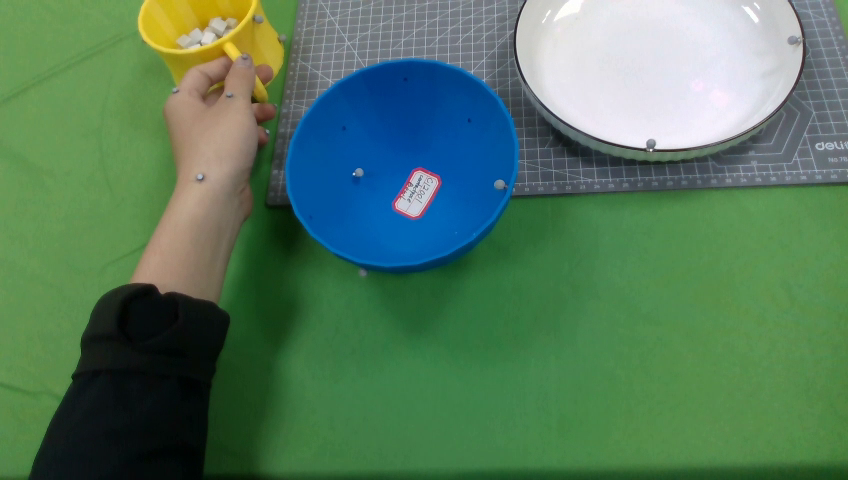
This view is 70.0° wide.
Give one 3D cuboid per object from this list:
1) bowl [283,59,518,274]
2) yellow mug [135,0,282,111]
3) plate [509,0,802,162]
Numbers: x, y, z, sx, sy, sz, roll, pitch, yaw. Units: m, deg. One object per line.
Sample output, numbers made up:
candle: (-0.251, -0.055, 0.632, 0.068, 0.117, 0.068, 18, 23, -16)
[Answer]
bowl: (-0.011, -0.038, 0.415, 0.151, 0.077, 0.150, -3, 68, 7)
yellow mug: (-0.169, -0.159, 0.505, 0.100, 0.064, 0.129, -38, 65, -11)
plate: (0.169, -0.144, 0.463, 0.209, 0.038, 0.207, -3, 64, 6)
